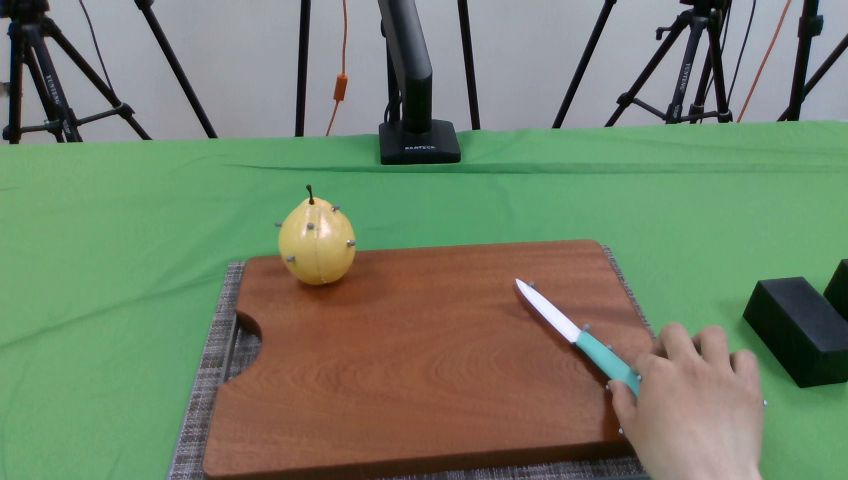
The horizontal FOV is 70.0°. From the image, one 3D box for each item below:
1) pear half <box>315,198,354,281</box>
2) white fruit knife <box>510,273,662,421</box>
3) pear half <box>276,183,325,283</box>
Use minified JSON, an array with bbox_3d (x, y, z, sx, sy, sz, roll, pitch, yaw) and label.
[{"bbox_3d":[-0.088,-0.001,0.618,0.031,0.088,0.070,1,30,3],"label":"pear half"},{"bbox_3d":[0.145,0.089,0.566,0.027,0.016,0.205,-12,39,-29],"label":"white fruit knife"},{"bbox_3d":[-0.124,-0.012,0.615,0.056,0.111,0.075,3,34,3],"label":"pear half"}]
